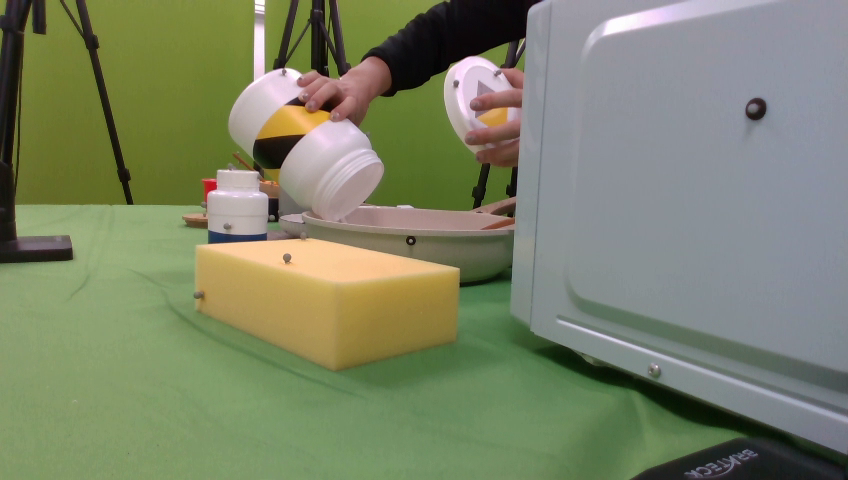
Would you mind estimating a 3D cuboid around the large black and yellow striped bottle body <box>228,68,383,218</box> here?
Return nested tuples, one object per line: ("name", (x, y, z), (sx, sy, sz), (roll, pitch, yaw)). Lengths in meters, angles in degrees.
("large black and yellow striped bottle body", (-0.157, -0.127, 0.818), (0.183, 0.130, 0.131), (44, 19, 11))

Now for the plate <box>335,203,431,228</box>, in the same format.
("plate", (-0.089, -0.054, 1.309), (0.208, 0.039, 0.207), (2, 8, 0))

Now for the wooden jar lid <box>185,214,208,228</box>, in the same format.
("wooden jar lid", (-0.404, -0.037, 1.169), (0.108, 0.020, 0.108), (3, 7, 0))

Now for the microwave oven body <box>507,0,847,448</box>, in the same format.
("microwave oven body", (0.331, -0.042, 0.425), (0.444, 0.260, 0.324), (-2, 8, -31))

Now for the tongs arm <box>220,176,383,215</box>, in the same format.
("tongs arm", (-0.285, -0.104, 1.445), (0.389, 0.027, 0.028), (9, -4, -23))

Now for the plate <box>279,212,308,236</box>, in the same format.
("plate", (-0.139, -0.022, 1.021), (0.209, 0.038, 0.209), (2, 8, 0))

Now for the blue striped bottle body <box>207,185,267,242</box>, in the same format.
("blue striped bottle body", (-0.204, -0.016, 0.663), (0.063, 0.120, 0.063), (2, 7, 0))

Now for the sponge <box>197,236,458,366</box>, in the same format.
("sponge", (-0.087, 0.039, 0.500), (0.206, 0.061, 0.119), (8, 10, 44))

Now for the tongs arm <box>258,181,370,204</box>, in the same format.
("tongs arm", (-0.241, -0.095, 1.373), (0.387, 0.026, 0.050), (9, 0, -37))

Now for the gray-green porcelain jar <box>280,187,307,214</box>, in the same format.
("gray-green porcelain jar", (-0.238, -0.092, 1.221), (0.106, 0.126, 0.106), (2, 7, 0))

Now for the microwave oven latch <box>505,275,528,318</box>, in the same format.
("microwave oven latch", (0.100, 0.041, 0.472), (0.079, 0.029, 0.030), (-2, 8, -31))

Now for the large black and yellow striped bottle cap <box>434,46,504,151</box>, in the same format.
("large black and yellow striped bottle cap", (0.053, -0.156, 0.675), (0.018, 0.115, 0.115), (16, 15, 36))

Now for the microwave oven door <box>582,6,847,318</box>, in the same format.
("microwave oven door", (0.295, -0.067, 0.569), (0.358, 0.243, 0.039), (-3, 8, -31))

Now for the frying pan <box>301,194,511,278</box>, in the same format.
("frying pan", (0.050, -0.029, 0.864), (0.305, 0.102, 0.490), (8, 18, 35))

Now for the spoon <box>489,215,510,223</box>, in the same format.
("spoon", (0.077, -0.011, 0.795), (0.193, 0.021, 0.042), (-26, -9, 12))

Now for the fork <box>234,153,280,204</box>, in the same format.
("fork", (-0.396, -0.143, 1.487), (0.028, 0.018, 0.208), (19, -26, 44))

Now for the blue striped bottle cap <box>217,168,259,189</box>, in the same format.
("blue striped bottle cap", (-0.202, -0.067, 0.657), (0.044, 0.020, 0.044), (1, 12, 0))
